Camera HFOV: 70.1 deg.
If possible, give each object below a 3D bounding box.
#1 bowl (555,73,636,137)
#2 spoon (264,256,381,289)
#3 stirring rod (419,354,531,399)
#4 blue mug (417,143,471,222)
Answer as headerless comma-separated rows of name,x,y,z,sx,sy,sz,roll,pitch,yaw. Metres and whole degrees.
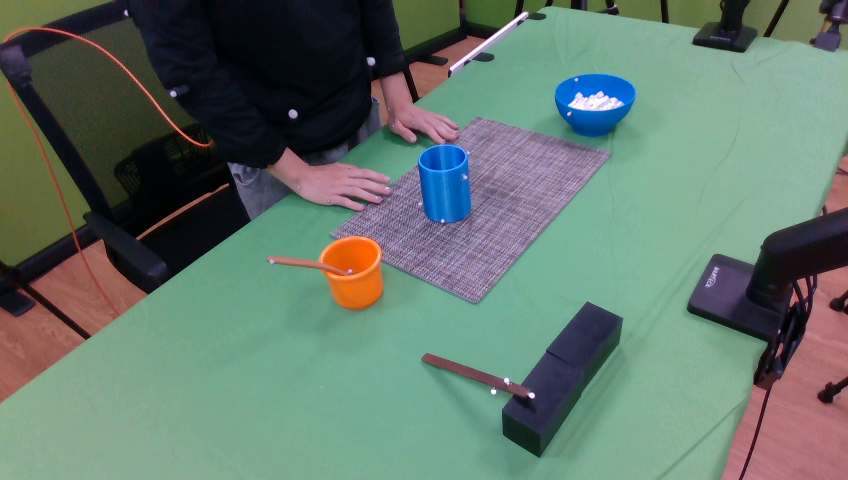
bowl,0.328,-0.253,1.172,0.151,0.077,0.150,-4,41,4
spoon,-0.136,0.041,0.842,0.021,0.195,0.041,-56,46,13
stirring rod,0.058,0.164,0.738,0.174,0.006,0.014,8,42,45
blue mug,0.031,-0.104,1.014,0.082,0.106,0.115,-14,41,-7
